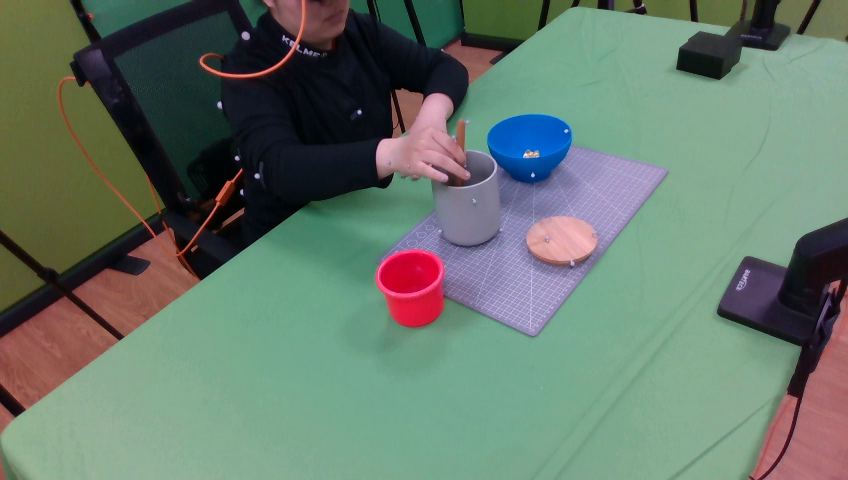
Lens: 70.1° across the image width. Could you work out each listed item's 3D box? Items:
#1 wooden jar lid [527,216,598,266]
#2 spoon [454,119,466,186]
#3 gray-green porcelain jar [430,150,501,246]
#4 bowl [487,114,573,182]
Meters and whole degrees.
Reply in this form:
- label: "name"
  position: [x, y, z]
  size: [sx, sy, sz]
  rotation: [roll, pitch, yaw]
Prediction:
- label: "wooden jar lid"
  position: [0.214, 0.003, 0.937]
  size: [0.108, 0.021, 0.108]
  rotation: [-4, 40, 4]
- label: "spoon"
  position: [0.052, -0.102, 0.927]
  size: [0.041, 0.194, 0.022]
  rotation: [21, 42, 21]
- label: "gray-green porcelain jar"
  position: [0.069, -0.062, 0.959]
  size: [0.106, 0.127, 0.105]
  rotation: [-5, 40, 5]
- label: "bowl"
  position: [0.190, -0.156, 1.085]
  size: [0.151, 0.077, 0.150]
  rotation: [-5, 40, 5]
